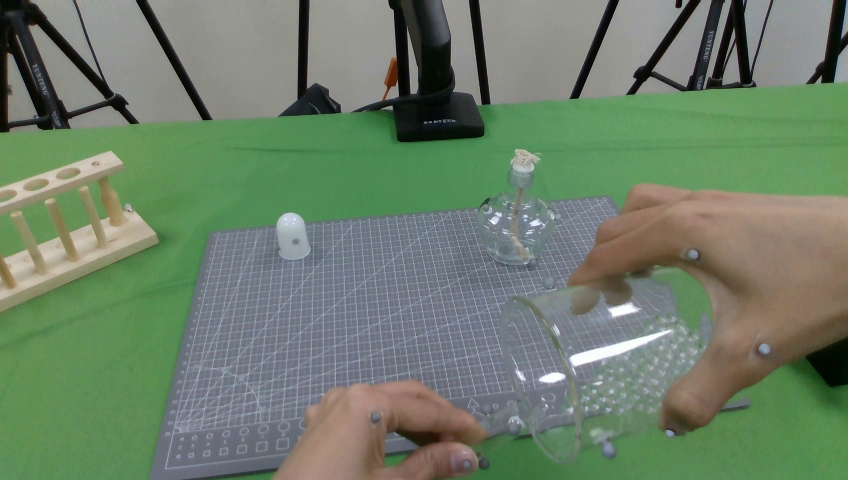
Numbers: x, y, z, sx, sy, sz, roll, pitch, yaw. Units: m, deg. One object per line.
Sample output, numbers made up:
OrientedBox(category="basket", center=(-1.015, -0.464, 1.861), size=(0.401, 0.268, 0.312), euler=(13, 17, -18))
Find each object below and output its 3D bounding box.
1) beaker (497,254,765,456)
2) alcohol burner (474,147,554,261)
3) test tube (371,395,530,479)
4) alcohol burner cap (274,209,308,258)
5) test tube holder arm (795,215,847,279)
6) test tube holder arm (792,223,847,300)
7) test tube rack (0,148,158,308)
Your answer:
OrientedBox(category="beaker", center=(0.094, 0.051, 0.282), size=(0.100, 0.084, 0.073), euler=(-12, 53, -13))
OrientedBox(category="alcohol burner", center=(0.089, -0.038, 0.587), size=(0.078, 0.120, 0.077), euler=(1, 38, 0))
OrientedBox(category="test tube", center=(-0.004, 0.126, 0.330), size=(0.150, 0.017, 0.017), euler=(-38, 31, 23))
OrientedBox(category="alcohol burner cap", center=(-0.136, -0.009, 0.611), size=(0.034, 0.048, 0.033), euler=(-1, 38, 1))
OrientedBox(category="test tube holder arm", center=(0.346, 0.007, 0.520), size=(0.015, 0.010, 0.087), euler=(1, 39, 1))
OrientedBox(category="test tube holder arm", center=(0.345, 0.039, 0.489), size=(0.015, 0.013, 0.176), euler=(1, 38, 1))
OrientedBox(category="test tube rack", center=(-0.393, 0.002, 0.570), size=(0.242, 0.086, 0.066), euler=(-29, 47, -32))
